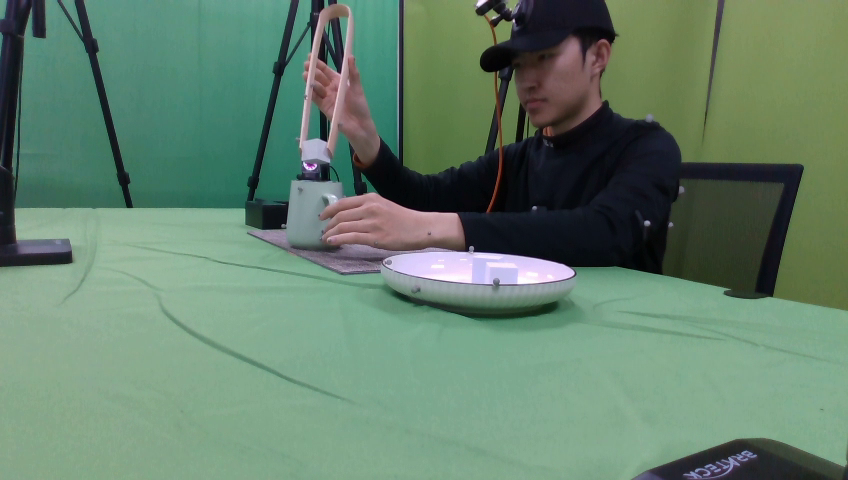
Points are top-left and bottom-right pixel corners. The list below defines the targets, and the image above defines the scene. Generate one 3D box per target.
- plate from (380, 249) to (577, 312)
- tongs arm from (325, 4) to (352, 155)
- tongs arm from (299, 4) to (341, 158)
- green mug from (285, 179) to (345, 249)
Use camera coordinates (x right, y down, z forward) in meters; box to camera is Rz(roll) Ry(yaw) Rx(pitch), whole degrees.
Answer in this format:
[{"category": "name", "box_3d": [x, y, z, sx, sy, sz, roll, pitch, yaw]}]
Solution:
[{"category": "plate", "box_3d": [0.056, 0.042, 0.646, 0.209, 0.038, 0.209, 2, 7, 0]}, {"category": "tongs arm", "box_3d": [-0.148, -0.290, 1.041, 0.028, 0.386, 0.028, -8, -38, 10]}, {"category": "tongs arm", "box_3d": [-0.177, -0.288, 1.044, 0.051, 0.383, 0.026, -8, -38, 5]}, {"category": "green mug", "box_3d": [-0.161, -0.040, 0.936, 0.093, 0.105, 0.124, -2, 8, -32]}]
